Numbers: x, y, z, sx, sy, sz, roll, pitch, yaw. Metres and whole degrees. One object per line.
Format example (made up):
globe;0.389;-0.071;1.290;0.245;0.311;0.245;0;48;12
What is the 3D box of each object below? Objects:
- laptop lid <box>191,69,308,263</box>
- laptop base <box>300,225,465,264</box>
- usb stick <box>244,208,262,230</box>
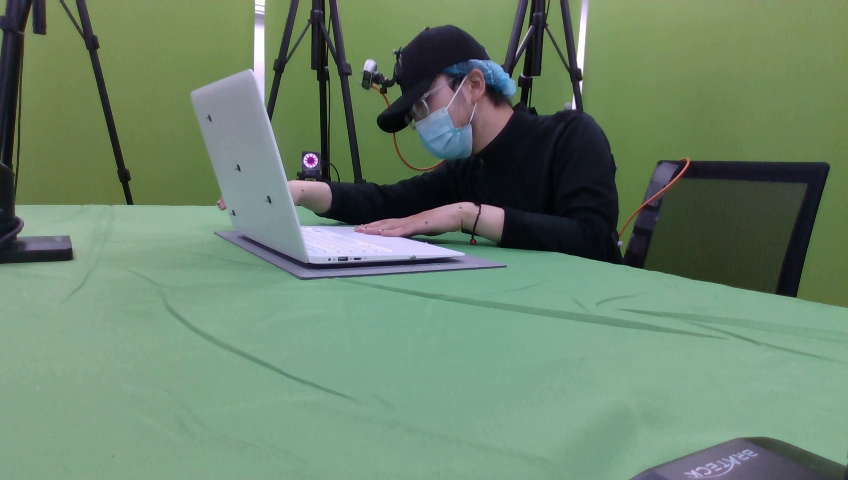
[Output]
laptop lid;-0.255;-0.102;0.842;0.013;0.242;0.355;-22;20;-27
laptop base;-0.128;0.005;0.937;0.237;0.023;0.352;2;6;-32
usb stick;-0.300;-0.035;1.066;0.021;0.027;0.059;10;17;-30
